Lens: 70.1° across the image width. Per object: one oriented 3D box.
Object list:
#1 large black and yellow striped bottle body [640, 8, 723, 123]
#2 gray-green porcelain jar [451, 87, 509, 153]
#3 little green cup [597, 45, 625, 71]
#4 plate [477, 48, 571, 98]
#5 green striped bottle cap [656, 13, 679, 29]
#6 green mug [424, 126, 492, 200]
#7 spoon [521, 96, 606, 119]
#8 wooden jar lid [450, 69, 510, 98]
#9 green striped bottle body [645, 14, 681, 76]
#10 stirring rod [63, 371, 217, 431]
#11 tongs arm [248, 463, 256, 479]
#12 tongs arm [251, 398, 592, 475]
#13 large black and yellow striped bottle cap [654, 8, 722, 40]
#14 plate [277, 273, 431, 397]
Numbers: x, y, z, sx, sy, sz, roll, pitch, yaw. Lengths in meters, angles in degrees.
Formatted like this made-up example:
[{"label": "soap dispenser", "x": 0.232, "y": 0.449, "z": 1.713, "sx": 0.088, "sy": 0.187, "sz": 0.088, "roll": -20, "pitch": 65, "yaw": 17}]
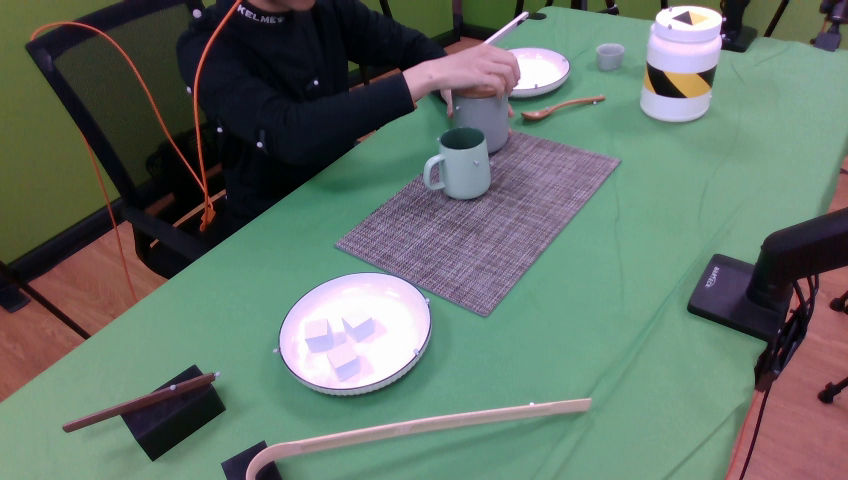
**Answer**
[{"label": "large black and yellow striped bottle body", "x": 0.493, "y": -0.334, "z": 1.161, "sx": 0.131, "sy": 0.185, "sz": 0.130, "roll": -4, "pitch": 41, "yaw": 4}, {"label": "gray-green porcelain jar", "x": 0.107, "y": -0.235, "z": 1.141, "sx": 0.106, "sy": 0.127, "sz": 0.105, "roll": -4, "pitch": 42, "yaw": 4}, {"label": "little green cup", "x": 0.423, "y": -0.413, "z": 1.376, "sx": 0.061, "sy": 0.039, "sz": 0.061, "roll": -3, "pitch": 41, "yaw": 4}, {"label": "plate", "x": 0.223, "y": -0.371, "z": 1.357, "sx": 0.209, "sy": 0.038, "sz": 0.208, "roll": -4, "pitch": 41, "yaw": 4}, {"label": "green striped bottle cap", "x": 0.515, "y": -0.463, "z": 1.278, "sx": 0.044, "sy": 0.020, "sz": 0.044, "roll": -6, "pitch": 42, "yaw": 6}, {"label": "green mug", "x": 0.055, "y": -0.125, "z": 1.039, "sx": 0.126, "sy": 0.105, "sz": 0.091, "roll": -26, "pitch": 44, "yaw": -19}, {"label": "spoon", "x": 0.291, "y": -0.277, "z": 1.249, "sx": 0.194, "sy": 0.022, "sz": 0.041, "roll": -17, "pitch": 25, "yaw": -11}, {"label": "wooden jar lid", "x": 0.101, "y": -0.281, "z": 1.100, "sx": 0.108, "sy": 0.021, "sz": 0.108, "roll": -3, "pitch": 37, "yaw": 3}, {"label": "green striped bottle body", "x": 0.520, "y": -0.424, "z": 1.312, "sx": 0.063, "sy": 0.120, "sz": 0.063, "roll": -4, "pitch": 41, "yaw": 4}, {"label": "stirring rod", "x": -0.337, "y": 0.192, "z": 0.723, "sx": 0.177, "sy": 0.014, "sz": 0.005, "roll": -18, "pitch": 43, "yaw": -12}, {"label": "tongs arm", "x": 0.012, "y": 0.262, "z": 0.615, "sx": 0.385, "sy": 0.026, "sz": 0.050, "roll": 2, "pitch": 41, "yaw": -2}, {"label": "tongs arm", "x": 0.008, "y": 0.213, "z": 0.675, "sx": 0.389, "sy": 0.028, "sz": 0.028, "roll": -5, "pitch": 46, "yaw": -11}, {"label": "large black and yellow striped bottle cap", "x": 0.483, "y": -0.397, "z": 1.108, "sx": 0.115, "sy": 0.019, "sz": 0.114, "roll": -3, "pitch": 41, "yaw": 3}, {"label": "plate", "x": -0.091, "y": 0.129, "z": 0.821, "sx": 0.207, "sy": 0.039, "sz": 0.206, "roll": -4, "pitch": 40, "yaw": 4}]
